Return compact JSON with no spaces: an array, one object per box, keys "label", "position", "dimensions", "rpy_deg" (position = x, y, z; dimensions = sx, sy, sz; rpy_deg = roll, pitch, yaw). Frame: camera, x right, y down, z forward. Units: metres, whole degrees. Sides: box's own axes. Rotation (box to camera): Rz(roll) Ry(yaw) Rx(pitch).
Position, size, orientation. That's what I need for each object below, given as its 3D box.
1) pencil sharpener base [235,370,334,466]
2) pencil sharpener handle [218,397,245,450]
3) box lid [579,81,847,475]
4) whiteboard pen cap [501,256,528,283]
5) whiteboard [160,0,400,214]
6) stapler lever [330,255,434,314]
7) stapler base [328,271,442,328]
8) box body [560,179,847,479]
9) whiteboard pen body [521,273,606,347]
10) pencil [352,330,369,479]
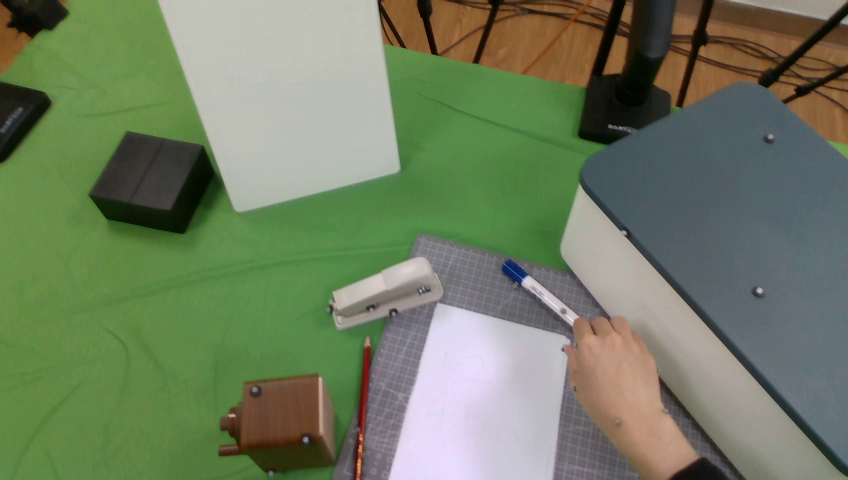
[{"label":"pencil sharpener base","position":[-0.129,0.171,0.572],"dimensions":[0.077,0.108,0.061],"rpy_deg":[-5,59,-4]},{"label":"pencil sharpener handle","position":[-0.179,0.172,0.554],"dimensions":[0.031,0.068,0.035],"rpy_deg":[-5,42,-4]},{"label":"box lid","position":[0.350,0.003,0.574],"dimensions":[0.263,0.015,0.368],"rpy_deg":[-27,64,-18]},{"label":"whiteboard pen cap","position":[0.107,0.036,0.713],"dimensions":[0.018,0.018,0.033],"rpy_deg":[-38,65,-22]},{"label":"whiteboard","position":[-0.166,-0.219,0.727],"dimensions":[0.217,0.308,0.142],"rpy_deg":[-15,41,-11]},{"label":"stapler lever","position":[-0.046,0.048,0.668],"dimensions":[0.118,0.040,0.026],"rpy_deg":[-17,56,-9]},{"label":"stapler base","position":[-0.044,0.060,0.690],"dimensions":[0.131,0.024,0.041],"rpy_deg":[-17,57,-8]},{"label":"box body","position":[0.348,0.044,0.636],"dimensions":[0.254,0.161,0.360],"rpy_deg":[-27,63,-18]},{"label":"whiteboard pen body","position":[0.148,0.071,0.690],"dimensions":[0.017,0.017,0.139],"rpy_deg":[-39,66,-23]},{"label":"pencil","position":[-0.066,0.182,0.624],"dimensions":[0.012,0.012,0.192],"rpy_deg":[2,58,-1]}]
